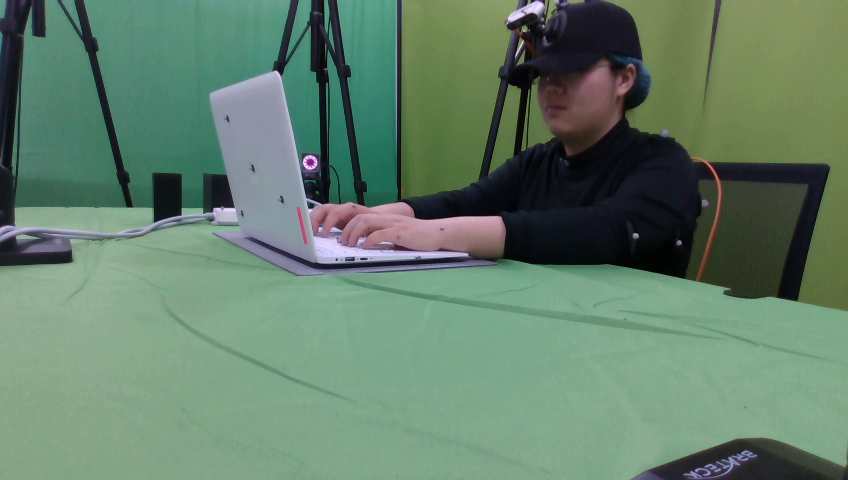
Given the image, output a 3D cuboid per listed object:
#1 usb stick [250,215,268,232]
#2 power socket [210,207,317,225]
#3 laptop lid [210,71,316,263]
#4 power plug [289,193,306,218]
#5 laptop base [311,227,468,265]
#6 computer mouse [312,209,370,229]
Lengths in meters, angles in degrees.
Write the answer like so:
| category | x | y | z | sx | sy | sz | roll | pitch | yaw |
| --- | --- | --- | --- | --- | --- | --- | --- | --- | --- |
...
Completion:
| category | x | y | z | sx | sy | sz | roll | pitch | yaw |
| --- | --- | --- | --- | --- | --- | --- | --- | --- | --- |
| usb stick | -0.291 | -0.028 | 1.069 | 0.021 | 0.027 | 0.059 | -1 | 11 | -30 |
| power socket | -0.334 | -0.051 | 1.281 | 0.228 | 0.032 | 0.072 | -1 | 8 | -28 |
| laptop lid | -0.240 | -0.104 | 0.861 | 0.013 | 0.241 | 0.355 | -16 | 17 | -29 |
| power plug | -0.281 | -0.076 | 1.340 | 0.035 | 0.052 | 0.072 | 3 | 6 | -17 |
| laptop base | -0.123 | 0.007 | 0.951 | 0.237 | 0.023 | 0.352 | 2 | 6 | -32 |
| computer mouse | -0.174 | -0.043 | 1.266 | 0.118 | 0.041 | 0.062 | -7 | 14 | -34 |
